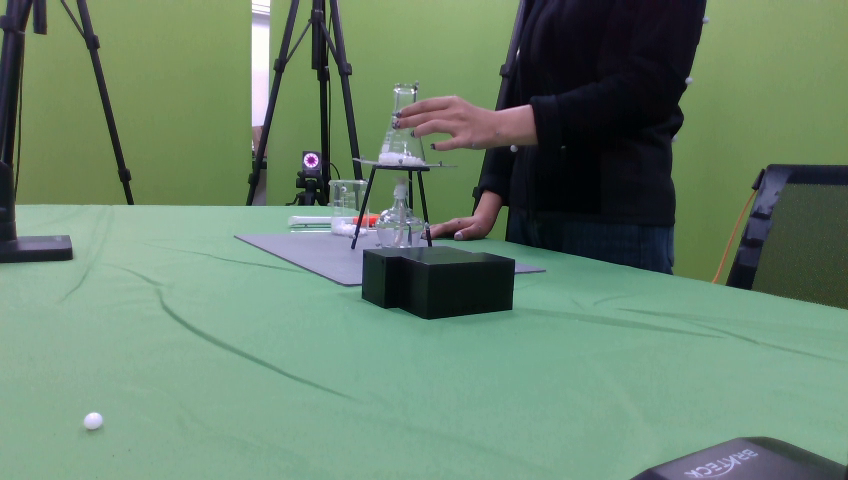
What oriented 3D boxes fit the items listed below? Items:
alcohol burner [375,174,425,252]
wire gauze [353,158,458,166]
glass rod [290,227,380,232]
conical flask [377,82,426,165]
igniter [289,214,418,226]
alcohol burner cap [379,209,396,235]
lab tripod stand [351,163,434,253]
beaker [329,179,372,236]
[{"bbox_3d":[-0.036,-0.042,0.934,0.078,0.119,0.078,2,9,0],"label":"alcohol burner"},{"bbox_3d":[-0.030,-0.117,0.927,0.122,0.011,0.124,0,5,-36],"label":"wire gauze"},{"bbox_3d":[-0.161,-0.022,1.178,0.201,0.008,0.008,-3,8,-28],"label":"glass rod"},{"bbox_3d":[-0.031,-0.175,0.918,0.075,0.122,0.075,3,8,0],"label":"conical flask"},{"bbox_3d":[-0.141,-0.042,1.258,0.278,0.025,0.057,-1,-2,-30],"label":"igniter"},{"bbox_3d":[-0.069,-0.036,1.155,0.034,0.048,0.034,3,8,0],"label":"alcohol burner cap"},{"bbox_3d":[-0.034,-0.052,0.933,0.148,0.131,0.148,4,7,0],"label":"lab tripod stand"},{"bbox_3d":[-0.137,-0.060,1.101,0.084,0.100,0.074,4,7,20],"label":"beaker"}]
